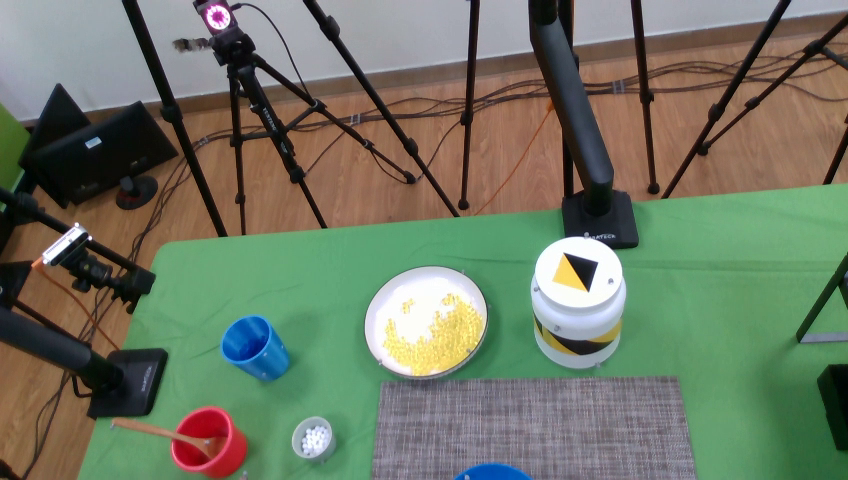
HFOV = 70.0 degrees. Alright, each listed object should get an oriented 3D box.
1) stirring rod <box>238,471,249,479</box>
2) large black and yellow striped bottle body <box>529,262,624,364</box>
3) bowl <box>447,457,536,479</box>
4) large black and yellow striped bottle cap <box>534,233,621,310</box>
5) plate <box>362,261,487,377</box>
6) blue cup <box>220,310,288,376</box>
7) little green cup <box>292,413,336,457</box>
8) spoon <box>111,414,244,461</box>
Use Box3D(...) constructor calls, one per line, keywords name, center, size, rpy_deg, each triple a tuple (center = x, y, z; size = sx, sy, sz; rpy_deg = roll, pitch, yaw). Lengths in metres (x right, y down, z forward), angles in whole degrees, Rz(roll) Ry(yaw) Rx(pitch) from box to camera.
Box3D(name="stirring rod", center=(-0.258, 0.395, 0.799), size=(0.014, 0.006, 0.174), rpy_deg=(-4, 54, 13))
Box3D(name="large black and yellow striped bottle body", center=(0.222, 0.088, 0.889), size=(0.130, 0.186, 0.129), rpy_deg=(-6, 54, 9))
Box3D(name="bowl", center=(0.091, 0.368, 0.782), size=(0.151, 0.077, 0.150), rpy_deg=(-6, 54, 9))
Box3D(name="large black and yellow striped bottle cap", center=(0.207, 0.041, 0.820), size=(0.115, 0.019, 0.114), rpy_deg=(-7, 54, 10))
Box3D(name="plate", center=(0.001, 0.131, 1.001), size=(0.209, 0.038, 0.207), rpy_deg=(-6, 55, 9))
Box3D(name="blue cup", center=(-0.269, 0.177, 0.989), size=(0.092, 0.101, 0.092), rpy_deg=(-7, 55, 10))
Box3D(name="little green cup", center=(-0.165, 0.299, 0.919), size=(0.061, 0.039, 0.061), rpy_deg=(-6, 54, 10))
Box3D(name="spoon", center=(-0.365, 0.290, 0.906), size=(0.195, 0.021, 0.041), rpy_deg=(26, 56, -23))
